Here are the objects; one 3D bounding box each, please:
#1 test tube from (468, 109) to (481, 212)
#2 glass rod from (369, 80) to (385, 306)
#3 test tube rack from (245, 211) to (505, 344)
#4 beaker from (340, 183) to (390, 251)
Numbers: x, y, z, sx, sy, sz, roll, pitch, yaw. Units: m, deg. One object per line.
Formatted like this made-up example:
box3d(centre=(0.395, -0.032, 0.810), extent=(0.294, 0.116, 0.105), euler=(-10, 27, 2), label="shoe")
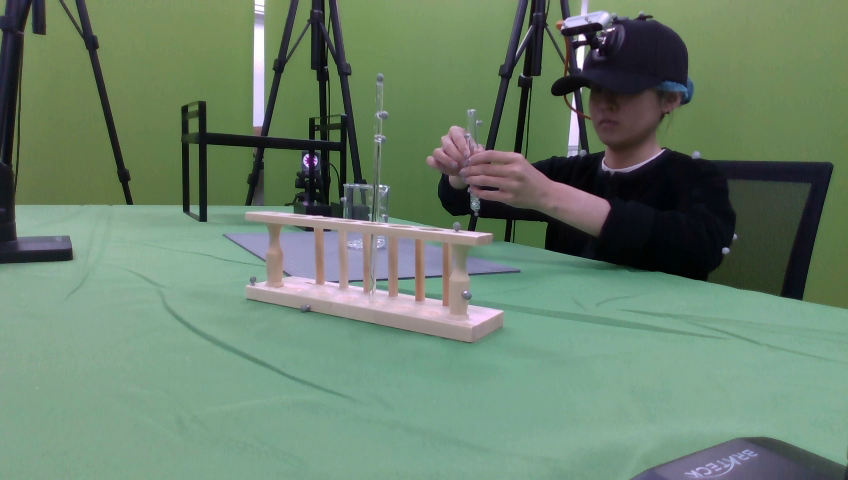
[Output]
box3d(centre=(0.075, -0.116, 0.887), extent=(0.017, 0.150, 0.017), euler=(-2, 8, 1), label="test tube")
box3d(centre=(-0.041, -0.039, 0.530), extent=(0.008, 0.199, 0.008), euler=(3, 2, 0), label="glass rod")
box3d(centre=(-0.049, 0.025, 0.547), extent=(0.241, 0.085, 0.067), euler=(7, 8, 29), label="test tube rack")
box3d(centre=(-0.090, -0.036, 0.943), extent=(0.083, 0.100, 0.074), euler=(10, 10, 41), label="beaker")
